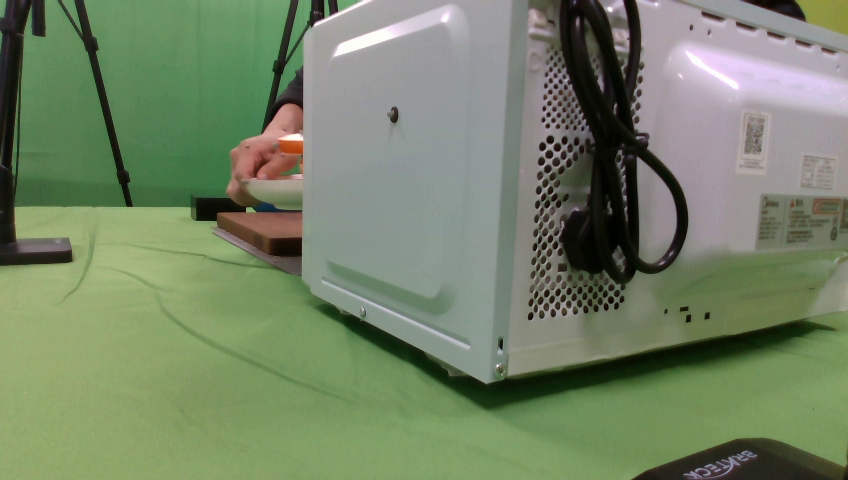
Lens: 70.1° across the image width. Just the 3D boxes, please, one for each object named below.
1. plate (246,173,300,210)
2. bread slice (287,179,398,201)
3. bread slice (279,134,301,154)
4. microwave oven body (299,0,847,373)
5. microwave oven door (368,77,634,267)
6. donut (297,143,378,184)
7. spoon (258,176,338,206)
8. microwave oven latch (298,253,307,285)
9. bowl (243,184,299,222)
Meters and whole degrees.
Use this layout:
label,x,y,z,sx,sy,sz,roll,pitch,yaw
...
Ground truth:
label,x,y,z,sx,sy,sz,roll,pitch,yaw
plate,-0.106,-0.062,0.731,0.208,0.039,0.207,-3,9,1
bread slice,-0.100,-0.060,0.727,0.104,0.019,0.132,-3,6,16
bread slice,-0.108,-0.119,0.721,0.107,0.018,0.134,0,14,12
microwave oven body,0.151,-0.055,0.543,0.444,0.260,0.324,-2,7,-33
microwave oven door,0.094,-0.099,0.831,0.355,0.243,0.039,4,7,18
donut,-0.105,-0.091,0.733,0.099,0.048,0.099,-5,5,1
spoon,-0.279,-0.112,1.357,0.194,0.021,0.041,-27,19,-27
microwave oven latch,-0.081,0.027,0.582,0.079,0.029,0.030,-1,7,-32
bowl,-0.322,-0.081,1.334,0.151,0.077,0.151,3,7,0
